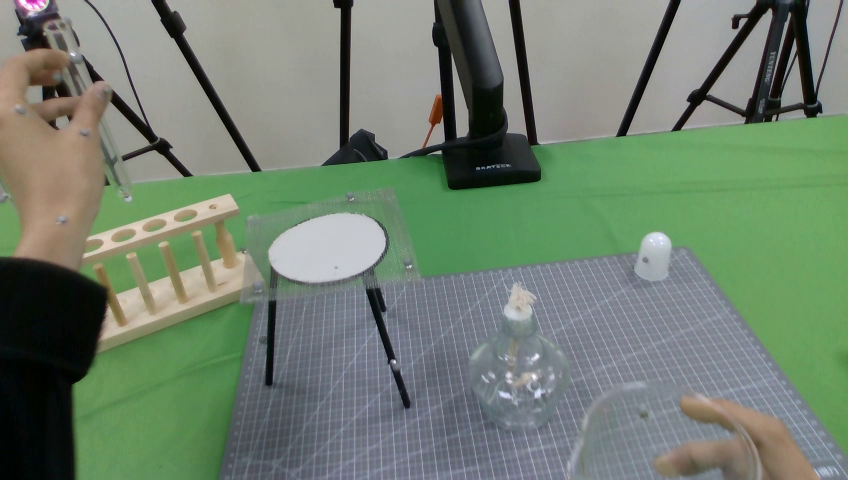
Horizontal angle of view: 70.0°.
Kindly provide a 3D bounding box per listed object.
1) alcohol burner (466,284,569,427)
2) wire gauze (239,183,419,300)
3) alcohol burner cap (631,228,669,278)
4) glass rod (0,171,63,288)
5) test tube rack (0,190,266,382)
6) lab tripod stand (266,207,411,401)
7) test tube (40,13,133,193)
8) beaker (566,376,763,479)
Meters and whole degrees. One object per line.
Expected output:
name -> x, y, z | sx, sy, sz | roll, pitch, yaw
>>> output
alcohol burner -> 0.070, 0.082, 0.452 | 0.078, 0.120, 0.077 | -3, 35, 3
wire gauze -> -0.075, -0.001, 0.452 | 0.125, 0.011, 0.120 | -10, 36, -6
alcohol burner cap -> 0.223, 0.010, 0.595 | 0.034, 0.048, 0.033 | -3, 36, 2
glass rod -> -0.341, -0.003, 0.531 | 0.008, 0.201, 0.008 | -2, 40, 2
test tube rack -> -0.288, 0.038, 0.583 | 0.243, 0.086, 0.066 | -21, 39, -21
lab tripod stand -> -0.070, 0.053, 0.492 | 0.148, 0.133, 0.147 | -4, 38, 3
test tube -> -0.242, -0.092, 0.443 | 0.017, 0.151, 0.017 | 2, 48, -2
beaker -> 0.104, 0.127, 0.290 | 0.084, 0.101, 0.073 | -10, 37, -9
